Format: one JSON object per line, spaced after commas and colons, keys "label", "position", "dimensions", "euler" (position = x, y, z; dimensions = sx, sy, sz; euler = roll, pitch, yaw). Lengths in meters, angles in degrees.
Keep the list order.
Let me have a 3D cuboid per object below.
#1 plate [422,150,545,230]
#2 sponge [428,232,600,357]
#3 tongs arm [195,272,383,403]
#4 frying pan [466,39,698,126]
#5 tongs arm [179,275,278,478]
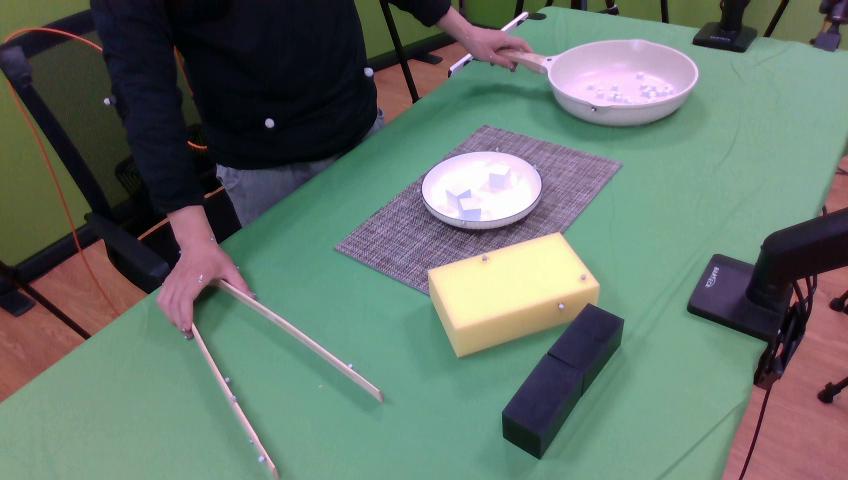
{"label": "plate", "position": [0.100, -0.082, 1.031], "dimensions": [0.207, 0.039, 0.206], "euler": [-4, 40, 4]}
{"label": "sponge", "position": [0.120, 0.071, 0.834], "dimensions": [0.207, 0.061, 0.117], "euler": [-15, 43, -12]}
{"label": "tongs arm", "position": [-0.200, 0.126, 0.847], "dimensions": [0.384, 0.028, 0.028], "euler": [25, 52, 33]}
{"label": "frying pan", "position": [0.312, -0.359, 1.277], "dimensions": [0.485, 0.103, 0.307], "euler": [23, 47, 19]}
{"label": "tongs arm", "position": [-0.261, 0.161, 0.808], "dimensions": [0.051, 0.026, 0.381], "euler": [-28, 44, -25]}
